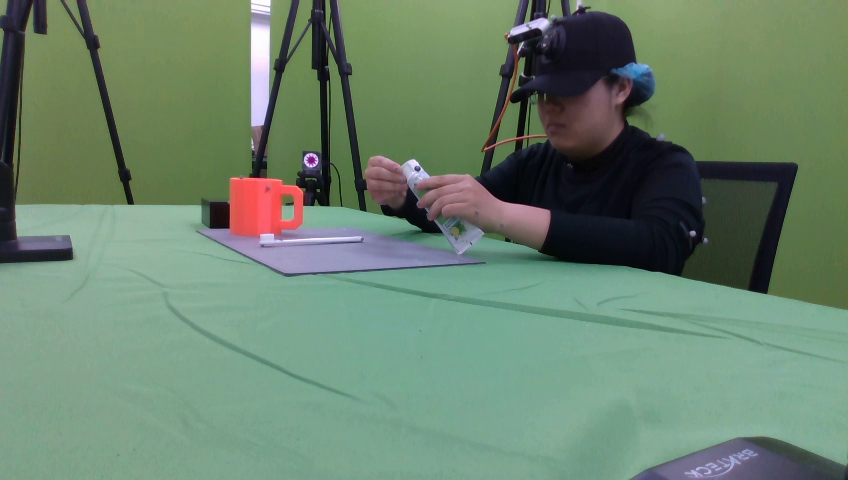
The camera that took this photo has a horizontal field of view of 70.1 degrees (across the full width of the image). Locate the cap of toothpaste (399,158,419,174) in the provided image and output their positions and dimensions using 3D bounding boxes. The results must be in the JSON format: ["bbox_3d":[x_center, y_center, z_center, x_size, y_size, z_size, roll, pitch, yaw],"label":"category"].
[{"bbox_3d":[-0.023,-0.115,0.961,0.037,0.011,0.037,-33,-15,-9],"label":"cap of toothpaste"}]

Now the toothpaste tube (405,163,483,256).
[{"bbox_3d":[0.024,-0.056,0.938,0.055,0.164,0.035,-44,-17,25],"label":"toothpaste tube"}]

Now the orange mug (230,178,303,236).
[{"bbox_3d":[-0.275,-0.060,1.058,0.126,0.101,0.083,-2,8,-5],"label":"orange mug"}]

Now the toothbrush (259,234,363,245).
[{"bbox_3d":[-0.175,-0.002,0.958,0.183,0.016,0.014,-1,-4,-39],"label":"toothbrush"}]
